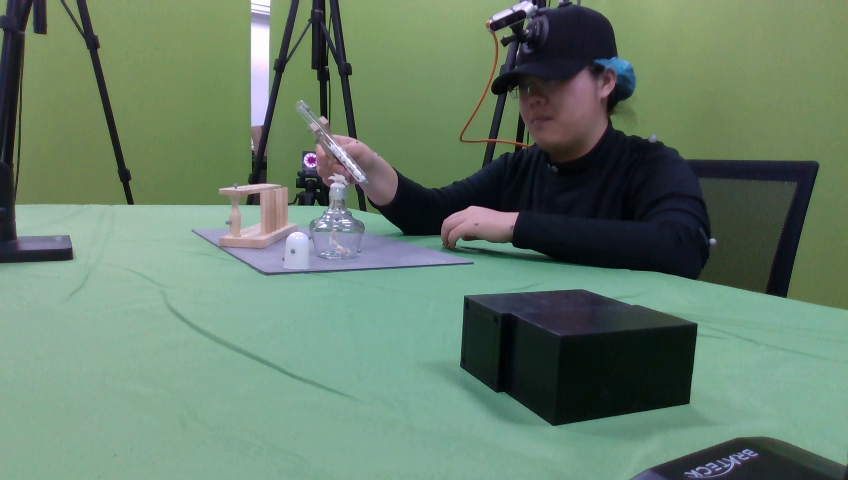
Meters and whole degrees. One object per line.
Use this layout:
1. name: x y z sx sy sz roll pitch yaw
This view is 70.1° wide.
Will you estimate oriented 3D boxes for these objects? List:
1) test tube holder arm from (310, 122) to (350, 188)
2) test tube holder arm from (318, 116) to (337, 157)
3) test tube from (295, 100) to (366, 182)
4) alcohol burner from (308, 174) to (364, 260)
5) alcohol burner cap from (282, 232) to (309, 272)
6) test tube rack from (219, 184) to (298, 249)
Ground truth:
1. test tube holder arm: -0.137 -0.123 0.897 0.013 0.015 0.179 -36 -21 -8
2. test tube holder arm: -0.136 -0.143 0.857 0.010 0.015 0.088 -34 -22 -15
3. test tube: -0.129 -0.136 0.831 0.150 0.017 0.017 49 22 12
4. alcohol burner: -0.121 -0.033 0.841 0.078 0.119 0.078 3 5 0
5. alcohol burner cap: -0.157 0.014 0.740 0.034 0.048 0.034 3 6 0
6. test tube rack: -0.266 -0.045 1.001 0.067 0.085 0.242 3 7 0
